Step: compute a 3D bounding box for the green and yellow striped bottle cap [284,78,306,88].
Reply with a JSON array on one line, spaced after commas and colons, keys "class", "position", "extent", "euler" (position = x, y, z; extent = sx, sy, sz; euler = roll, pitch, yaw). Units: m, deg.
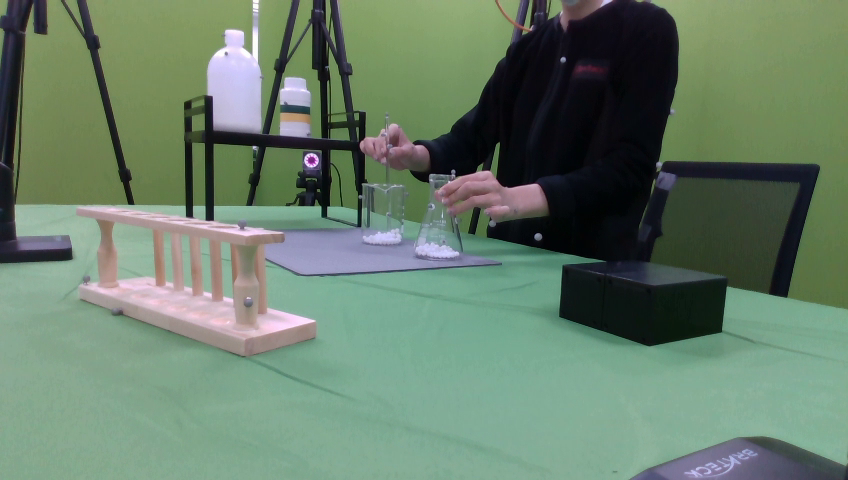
[{"class": "green and yellow striped bottle cap", "position": [-0.268, -0.325, 1.259], "extent": [0.045, 0.020, 0.045], "euler": [5, 7, 0]}]

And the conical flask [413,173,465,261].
[{"class": "conical flask", "position": [0.024, -0.034, 0.868], "extent": [0.075, 0.122, 0.075], "euler": [2, 7, 0]}]

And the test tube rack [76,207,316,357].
[{"class": "test tube rack", "position": [-0.196, 0.023, 0.500], "extent": [0.241, 0.085, 0.067], "euler": [8, 9, 36]}]

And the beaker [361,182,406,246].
[{"class": "beaker", "position": [-0.067, -0.042, 0.993], "extent": [0.074, 0.100, 0.084], "euler": [1, 8, -8]}]

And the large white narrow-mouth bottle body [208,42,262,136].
[{"class": "large white narrow-mouth bottle body", "position": [-0.368, -0.304, 1.181], "extent": [0.102, 0.194, 0.101], "euler": [2, 9, 0]}]

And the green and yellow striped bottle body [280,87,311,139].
[{"class": "green and yellow striped bottle body", "position": [-0.269, -0.274, 1.266], "extent": [0.063, 0.119, 0.063], "euler": [3, 7, 0]}]

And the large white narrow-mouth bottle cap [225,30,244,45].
[{"class": "large white narrow-mouth bottle cap", "position": [-0.365, -0.389, 1.166], "extent": [0.038, 0.024, 0.037], "euler": [3, 9, 0]}]

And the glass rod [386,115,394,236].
[{"class": "glass rod", "position": [-0.057, -0.106, 1.001], "extent": [0.008, 0.199, 0.008], "euler": [-2, 7, 1]}]
